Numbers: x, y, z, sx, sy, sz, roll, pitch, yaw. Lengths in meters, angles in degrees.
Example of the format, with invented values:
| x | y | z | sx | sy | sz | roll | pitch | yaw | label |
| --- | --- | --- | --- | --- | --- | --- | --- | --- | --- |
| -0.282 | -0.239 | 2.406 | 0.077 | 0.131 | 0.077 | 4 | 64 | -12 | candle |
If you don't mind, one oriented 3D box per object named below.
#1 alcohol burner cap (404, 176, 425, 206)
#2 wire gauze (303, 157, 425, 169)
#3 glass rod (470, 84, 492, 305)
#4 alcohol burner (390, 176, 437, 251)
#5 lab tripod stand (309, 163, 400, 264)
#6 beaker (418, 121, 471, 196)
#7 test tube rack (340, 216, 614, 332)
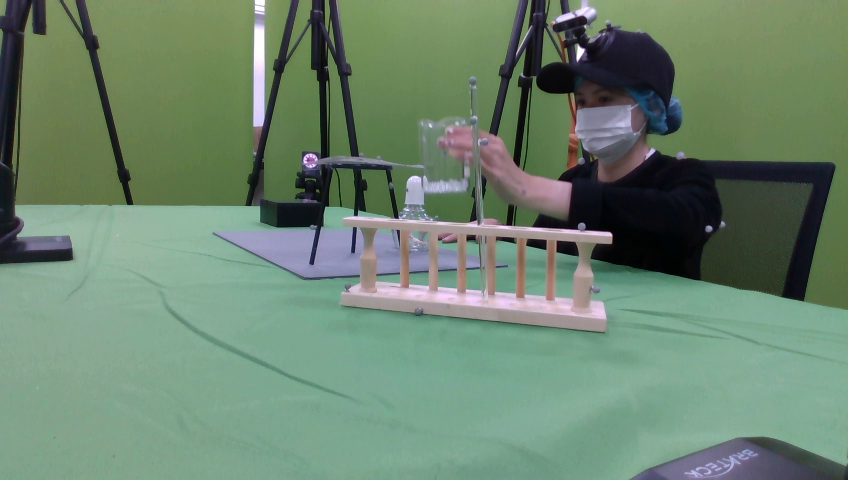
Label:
| x | y | z | sx | sy | sz | roll | pitch | yaw | label |
| --- | --- | --- | --- | --- | --- | --- | --- | --- | --- |
| -0.015 | -0.078 | 0.951 | 0.034 | 0.048 | 0.034 | 2 | 4 | 0 | alcohol burner cap |
| -0.082 | -0.102 | 0.799 | 0.126 | 0.011 | 0.121 | -1 | 7 | -30 | wire gauze |
| 0.051 | -0.036 | 0.535 | 0.008 | 0.199 | 0.008 | -5 | 10 | 1 | glass rod |
| -0.016 | -0.042 | 0.955 | 0.078 | 0.119 | 0.078 | 4 | 6 | 0 | alcohol burner |
| -0.091 | -0.037 | 0.813 | 0.148 | 0.131 | 0.148 | 1 | 6 | 0 | lab tripod stand |
| 0.030 | -0.113 | 0.847 | 0.074 | 0.100 | 0.084 | -1 | 6 | 14 | beaker |
| 0.048 | 0.026 | 0.568 | 0.242 | 0.085 | 0.067 | 4 | 8 | 13 | test tube rack |
